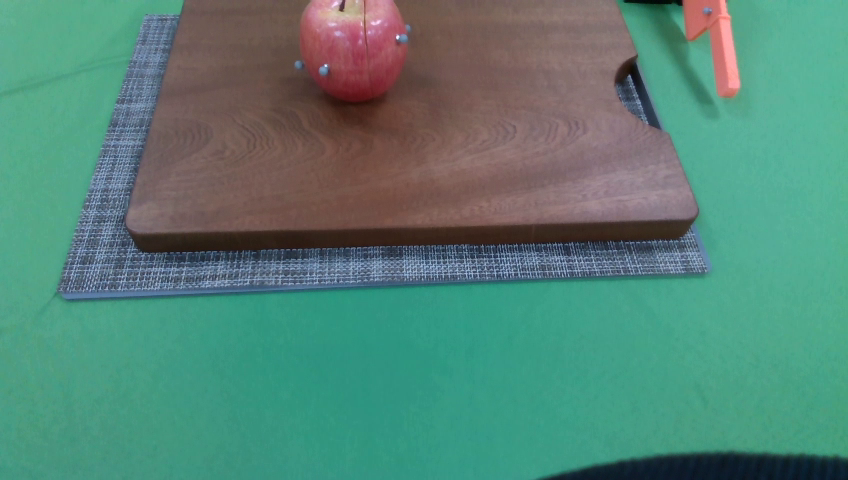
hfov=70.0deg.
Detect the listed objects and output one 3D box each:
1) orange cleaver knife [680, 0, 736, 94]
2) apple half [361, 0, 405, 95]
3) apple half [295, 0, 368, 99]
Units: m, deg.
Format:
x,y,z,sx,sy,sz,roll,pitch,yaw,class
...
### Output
x,y,z,sx,sy,sz,roll,pitch,yaw,class
0.261,-0.227,0.566,0.012,0.077,0.210,2,78,-6,orange cleaver knife
-0.031,-0.153,0.465,0.033,0.082,0.080,-4,56,-2,apple half
-0.070,-0.150,0.462,0.053,0.075,0.080,-4,60,-2,apple half
